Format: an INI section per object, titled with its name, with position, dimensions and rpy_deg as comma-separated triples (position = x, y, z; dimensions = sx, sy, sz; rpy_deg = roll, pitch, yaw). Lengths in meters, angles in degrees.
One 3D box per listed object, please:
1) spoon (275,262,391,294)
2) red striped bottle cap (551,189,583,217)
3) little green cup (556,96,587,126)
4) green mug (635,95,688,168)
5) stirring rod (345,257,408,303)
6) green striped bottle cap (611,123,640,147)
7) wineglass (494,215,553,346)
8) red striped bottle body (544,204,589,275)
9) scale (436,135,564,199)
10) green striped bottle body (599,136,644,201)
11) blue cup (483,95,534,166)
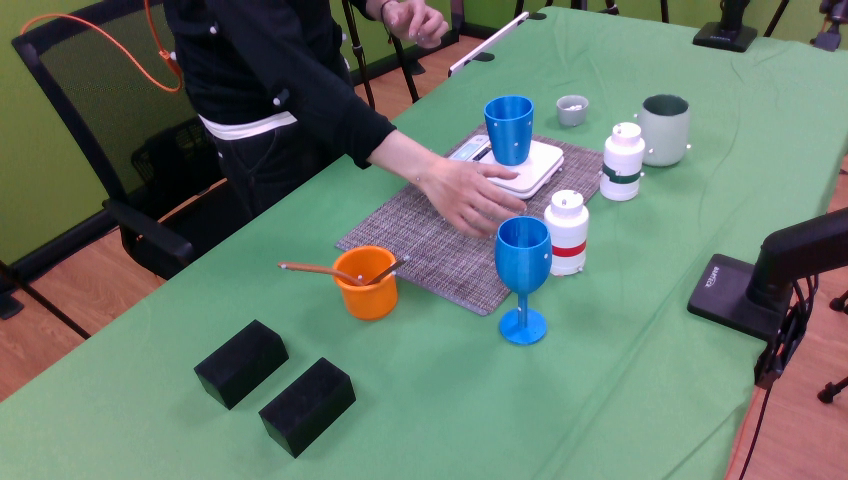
[spoon]
position = -0.120, 0.050, 0.830
dimensions = 0.041, 0.195, 0.021
rpy_deg = 31, 97, 45
[red striped bottle cap]
position = 0.200, -0.052, 0.843
dimensions = 0.044, 0.018, 0.044
rpy_deg = -2, 42, 2
[little green cup]
position = 0.295, -0.258, 1.214
dimensions = 0.061, 0.039, 0.061
rpy_deg = -4, 42, 4
[green mug]
position = 0.421, -0.201, 1.081
dimensions = 0.092, 0.105, 0.125
rpy_deg = 5, 42, 15
[stirring rod]
position = -0.067, 0.057, 0.814
dimensions = 0.014, 0.175, 0.006
rpy_deg = -22, 81, -38
[green striped bottle cap]
position = 0.322, -0.168, 0.963
dimensions = 0.044, 0.020, 0.044
rpy_deg = -3, 41, 3
[wineglass]
position = 0.126, 0.055, 0.770
dimensions = 0.074, 0.173, 0.073
rpy_deg = -4, 40, 4
[red striped bottle body]
position = 0.206, -0.011, 0.877
dimensions = 0.063, 0.120, 0.062
rpy_deg = -5, 41, 4
[scale]
position = 0.137, -0.142, 1.101
dimensions = 0.199, 0.032, 0.149
rpy_deg = 22, 48, 30
[green striped bottle body]
position = 0.326, -0.128, 0.997
dimensions = 0.063, 0.120, 0.063
rpy_deg = -4, 41, 4
[blue cup]
position = 0.149, -0.187, 1.051
dimensions = 0.092, 0.101, 0.092
rpy_deg = -6, 40, 6
